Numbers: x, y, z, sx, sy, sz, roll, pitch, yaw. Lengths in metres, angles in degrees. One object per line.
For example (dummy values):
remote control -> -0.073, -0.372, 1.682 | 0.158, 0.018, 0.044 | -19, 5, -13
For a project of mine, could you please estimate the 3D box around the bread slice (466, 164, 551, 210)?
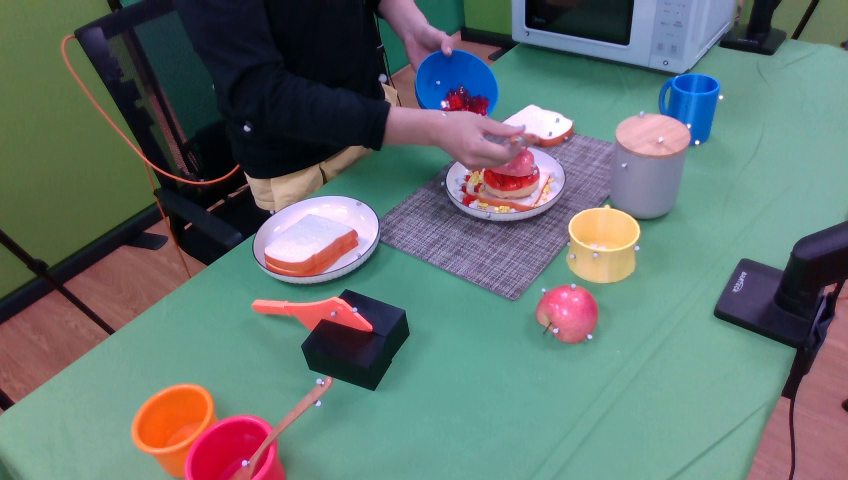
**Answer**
bread slice -> 0.141, -0.094, 1.041 | 0.133, 0.018, 0.107 | 9, 43, 21

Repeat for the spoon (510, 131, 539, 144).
spoon -> 0.142, -0.152, 0.889 | 0.041, 0.021, 0.194 | -4, 8, 16

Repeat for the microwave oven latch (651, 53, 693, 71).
microwave oven latch -> 0.532, -0.386, 1.301 | 0.078, 0.029, 0.030 | 27, 52, 34

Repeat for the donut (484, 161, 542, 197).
donut -> 0.149, -0.109, 1.016 | 0.099, 0.048, 0.098 | -4, 39, 4

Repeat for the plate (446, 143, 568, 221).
plate -> 0.142, -0.097, 1.045 | 0.207, 0.039, 0.206 | -4, 40, 4

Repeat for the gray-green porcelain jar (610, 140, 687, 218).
gray-green porcelain jar -> 0.354, -0.106, 0.964 | 0.106, 0.127, 0.105 | -4, 41, 4

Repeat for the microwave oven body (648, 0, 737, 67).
microwave oven body -> 0.475, -0.602, 1.411 | 0.438, 0.261, 0.327 | 23, 50, 32

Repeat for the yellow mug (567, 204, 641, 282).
yellow mug -> 0.268, -0.004, 0.905 | 0.099, 0.064, 0.130 | 6, 41, 16

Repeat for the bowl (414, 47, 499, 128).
bowl -> 0.050, -0.256, 1.073 | 0.152, 0.077, 0.151 | 4, 70, -11

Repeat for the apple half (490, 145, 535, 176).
apple half -> 0.147, -0.138, 0.994 | 0.081, 0.033, 0.081 | 1, 36, 0

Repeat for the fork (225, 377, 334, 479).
fork -> -0.163, 0.216, 0.646 | 0.207, 0.019, 0.028 | -49, 42, 16

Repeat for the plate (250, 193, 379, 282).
plate -> -0.174, -0.001, 0.984 | 0.209, 0.038, 0.208 | -3, 40, 3

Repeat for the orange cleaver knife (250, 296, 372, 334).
orange cleaver knife -> -0.159, 0.103, 0.828 | 0.210, 0.078, 0.012 | -4, 43, 39

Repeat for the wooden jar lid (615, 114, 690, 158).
wooden jar lid -> 0.347, -0.155, 0.923 | 0.108, 0.021, 0.108 | -3, 44, 4

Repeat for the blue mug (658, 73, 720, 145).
blue mug -> 0.483, -0.250, 1.127 | 0.082, 0.106, 0.115 | -26, 44, -19

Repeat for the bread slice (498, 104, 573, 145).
bread slice -> 0.231, -0.231, 1.205 | 0.105, 0.019, 0.130 | -36, 47, -28

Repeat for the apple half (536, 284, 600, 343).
apple half -> 0.196, 0.091, 0.815 | 0.075, 0.053, 0.080 | -22, 42, -20

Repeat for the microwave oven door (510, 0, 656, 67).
microwave oven door -> 0.350, -0.538, 1.348 | 0.353, 0.245, 0.039 | 24, 49, 31
